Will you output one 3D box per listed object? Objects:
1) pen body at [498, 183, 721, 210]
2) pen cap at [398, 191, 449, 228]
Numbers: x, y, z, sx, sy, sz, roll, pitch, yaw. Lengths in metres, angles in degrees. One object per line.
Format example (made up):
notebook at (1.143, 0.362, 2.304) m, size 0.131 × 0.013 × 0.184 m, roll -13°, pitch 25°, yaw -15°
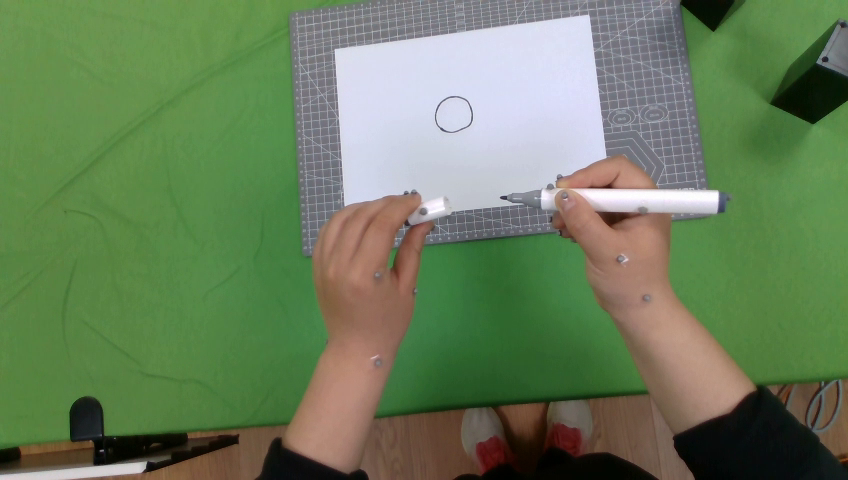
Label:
pen body at (0.120, -0.029, 0.407) m, size 0.143 × 0.017 × 0.017 m, roll 3°, pitch 82°, yaw 21°
pen cap at (0.000, -0.022, 0.455) m, size 0.038 × 0.017 × 0.017 m, roll -24°, pitch 80°, yaw 13°
